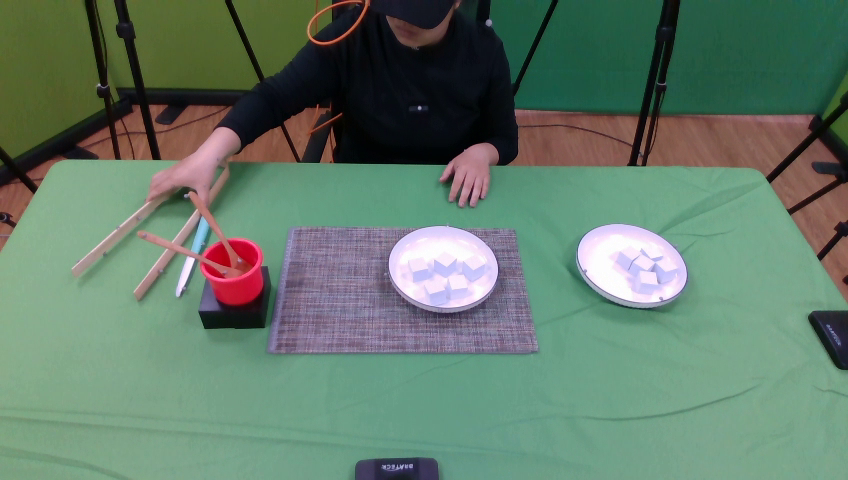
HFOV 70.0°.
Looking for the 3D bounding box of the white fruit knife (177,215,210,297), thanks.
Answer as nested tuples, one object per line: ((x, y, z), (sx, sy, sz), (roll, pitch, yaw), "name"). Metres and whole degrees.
((-0.435, 0.025, 1.148), (0.027, 0.016, 0.206), (-17, 45, 18), "white fruit knife")

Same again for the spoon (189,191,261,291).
((-0.333, 0.001, 1.011), (0.041, 0.194, 0.021), (-34, 15, -25), "spoon")

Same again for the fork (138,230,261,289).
((-0.360, 0.032, 0.981), (0.208, 0.018, 0.028), (31, 60, -30), "fork")

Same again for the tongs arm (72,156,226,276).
((-0.530, -0.057, 1.204), (0.050, 0.026, 0.383), (19, 47, 13), "tongs arm")

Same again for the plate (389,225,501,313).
((0.038, 0.057, 1.129), (0.208, 0.039, 0.206), (2, 46, -2), "plate")

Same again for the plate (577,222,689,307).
((0.396, 0.050, 1.165), (0.209, 0.038, 0.208), (2, 47, -2), "plate")

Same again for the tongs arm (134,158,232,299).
((-0.463, -0.036, 1.193), (0.028, 0.028, 0.385), (9, 46, 9), "tongs arm")
